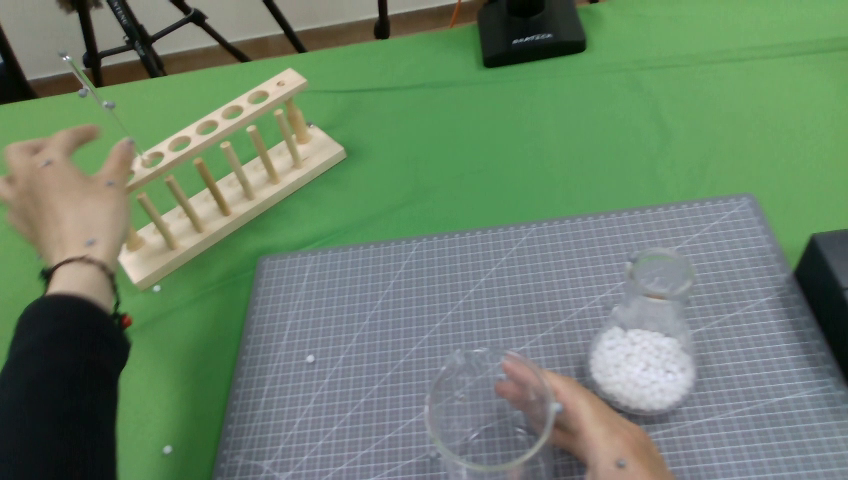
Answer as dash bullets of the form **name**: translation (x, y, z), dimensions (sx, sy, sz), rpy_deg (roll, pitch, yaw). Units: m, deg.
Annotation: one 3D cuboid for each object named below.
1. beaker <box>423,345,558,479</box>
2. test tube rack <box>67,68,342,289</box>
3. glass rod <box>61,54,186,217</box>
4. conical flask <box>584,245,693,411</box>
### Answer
- **beaker**: translation (0.043, 0.121, 0.380), dimensions (0.074, 0.101, 0.083), rpy_deg (-26, 49, -10)
- **test tube rack**: translation (-0.207, -0.065, 0.601), dimensions (0.242, 0.086, 0.066), rpy_deg (-37, 52, -18)
- **glass rod**: translation (-0.258, -0.082, 0.538), dimensions (0.008, 0.202, 0.008), rpy_deg (-5, 55, 7)
- **conical flask**: translation (0.145, 0.055, 0.397), dimensions (0.075, 0.123, 0.074), rpy_deg (-6, 50, 8)
